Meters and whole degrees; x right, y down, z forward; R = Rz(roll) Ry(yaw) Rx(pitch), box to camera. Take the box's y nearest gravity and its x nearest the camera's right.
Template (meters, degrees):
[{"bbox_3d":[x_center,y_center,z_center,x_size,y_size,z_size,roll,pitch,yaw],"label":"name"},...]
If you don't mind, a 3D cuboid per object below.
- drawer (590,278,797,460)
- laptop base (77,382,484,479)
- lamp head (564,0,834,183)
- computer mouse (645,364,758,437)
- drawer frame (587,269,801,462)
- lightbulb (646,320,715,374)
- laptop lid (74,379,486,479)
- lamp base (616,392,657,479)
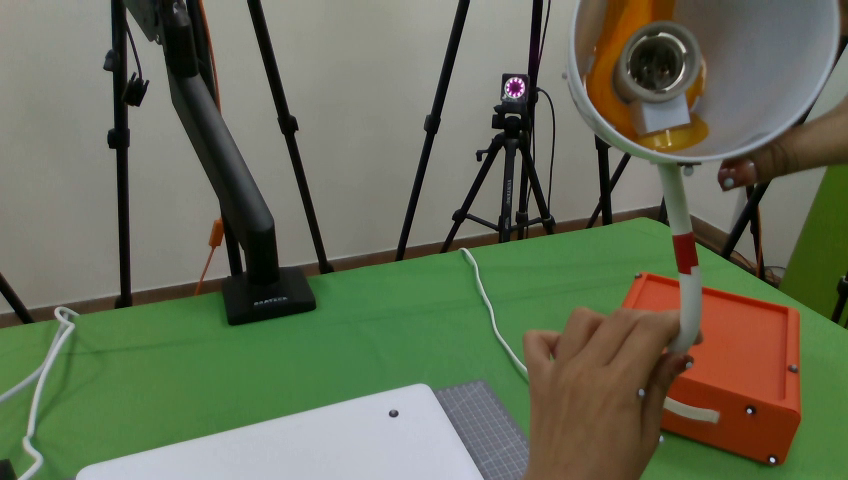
[{"bbox_3d":[0.320,0.135,0.712,0.193,0.074,0.211,14,28,25],"label":"drawer"},{"bbox_3d":[-0.119,0.244,0.539,0.355,0.023,0.233,-9,32,-20],"label":"laptop base"},{"bbox_3d":[0.125,-0.089,0.315,0.112,0.112,0.123,4,-1,7],"label":"lamp head"},{"bbox_3d":[0.303,0.172,0.663,0.116,0.041,0.062,15,28,16],"label":"computer mouse"},{"bbox_3d":[0.320,0.131,0.714,0.200,0.083,0.213,14,28,25],"label":"drawer frame"},{"bbox_3d":[0.312,0.133,0.731,0.059,0.060,0.107,-3,11,-8],"label":"lightbulb"},{"bbox_3d":[-0.118,0.234,0.532,0.358,0.013,0.239,-8,30,-19],"label":"laptop lid"},{"bbox_3d":[0.152,0.213,0.429,0.161,0.181,0.177,1,25,-4],"label":"lamp base"}]
